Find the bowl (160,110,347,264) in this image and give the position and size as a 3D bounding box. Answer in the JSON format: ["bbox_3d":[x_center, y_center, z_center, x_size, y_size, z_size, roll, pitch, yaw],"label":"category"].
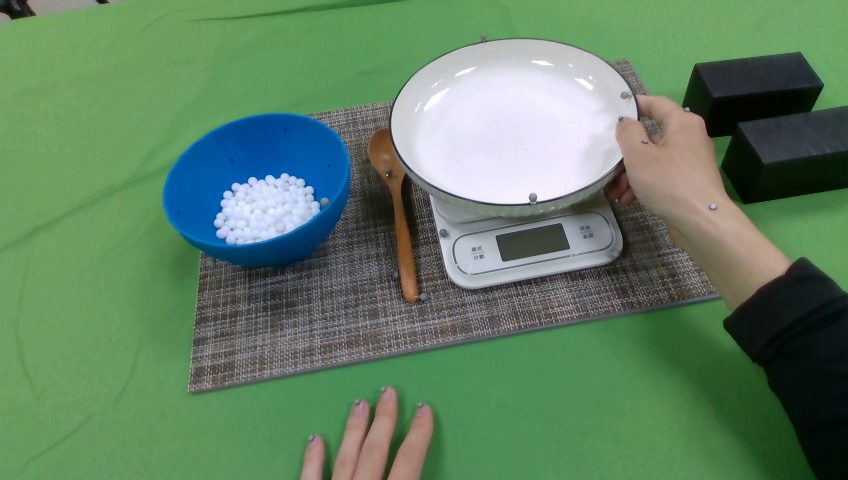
[{"bbox_3d":[-0.133,-0.032,0.515,0.151,0.077,0.150,-3,52,4],"label":"bowl"}]

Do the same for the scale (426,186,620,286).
[{"bbox_3d":[0.075,-0.056,0.541,0.149,0.032,0.198,-10,53,-2],"label":"scale"}]

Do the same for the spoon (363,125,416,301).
[{"bbox_3d":[-0.027,-0.031,0.538,0.042,0.022,0.191,-1,52,-13],"label":"spoon"}]

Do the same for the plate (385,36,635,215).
[{"bbox_3d":[0.071,-0.098,0.519,0.209,0.038,0.207,-3,53,4],"label":"plate"}]
